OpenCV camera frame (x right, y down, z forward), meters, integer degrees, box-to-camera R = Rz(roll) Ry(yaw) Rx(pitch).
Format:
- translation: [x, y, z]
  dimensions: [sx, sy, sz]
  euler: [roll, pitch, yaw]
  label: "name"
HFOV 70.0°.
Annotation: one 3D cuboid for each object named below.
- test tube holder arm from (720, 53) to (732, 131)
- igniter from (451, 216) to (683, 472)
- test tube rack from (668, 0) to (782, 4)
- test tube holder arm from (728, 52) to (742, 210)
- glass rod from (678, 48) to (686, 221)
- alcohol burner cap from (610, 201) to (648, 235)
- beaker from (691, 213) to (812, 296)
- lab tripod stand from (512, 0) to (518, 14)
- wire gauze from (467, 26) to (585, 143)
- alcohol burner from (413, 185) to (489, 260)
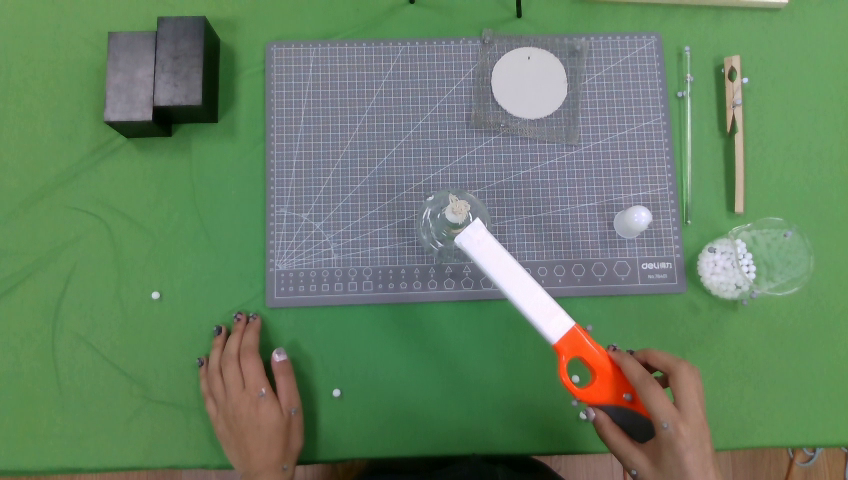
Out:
- translation: [0.341, -0.166, 0.683]
  dimensions: [0.010, 0.015, 0.087]
  euler: [-4, 81, 32]
  label: "test tube holder arm"
- translation: [0.127, 0.089, 0.534]
  dimensions: [0.057, 0.025, 0.276]
  euler: [-42, 85, -9]
  label: "igniter"
- translation: [0.295, -0.318, 0.670]
  dimensions: [0.242, 0.085, 0.066]
  euler: [2, 81, -1]
  label: "test tube rack"
- translation: [0.345, -0.122, 0.674]
  dimensions: [0.013, 0.015, 0.178]
  euler: [-4, 81, 32]
  label: "test tube holder arm"
- translation: [0.289, -0.120, 0.678]
  dimensions: [0.008, 0.008, 0.199]
  euler: [3, 84, -1]
  label: "glass rod"
- translation: [0.221, -0.025, 0.644]
  dimensions: [0.034, 0.048, 0.033]
  euler: [0, 81, -1]
  label: "alcohol burner cap"
- translation: [0.322, 0.017, 0.614]
  dimensions: [0.084, 0.100, 0.074]
  euler: [30, 81, 5]
  label: "beaker"
- translation: [0.049, -0.313, 0.640]
  dimensions: [0.148, 0.132, 0.148]
  euler: [0, 83, -1]
  label: "lab tripod stand"
- translation: [0.115, -0.178, 0.682]
  dimensions: [0.125, 0.011, 0.121]
  euler: [9, 82, -1]
  label: "wire gauze"
- translation: [0.027, -0.021, 0.603]
  dimensions: [0.078, 0.119, 0.077]
  euler: [0, 80, 1]
  label: "alcohol burner"
